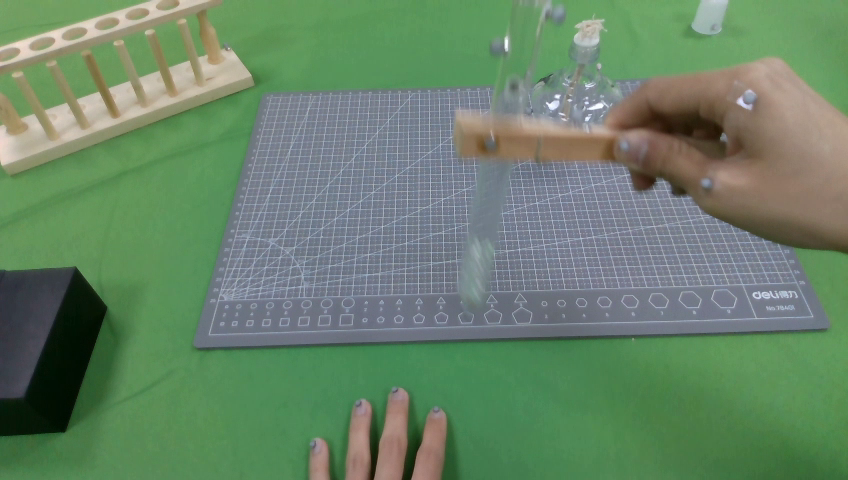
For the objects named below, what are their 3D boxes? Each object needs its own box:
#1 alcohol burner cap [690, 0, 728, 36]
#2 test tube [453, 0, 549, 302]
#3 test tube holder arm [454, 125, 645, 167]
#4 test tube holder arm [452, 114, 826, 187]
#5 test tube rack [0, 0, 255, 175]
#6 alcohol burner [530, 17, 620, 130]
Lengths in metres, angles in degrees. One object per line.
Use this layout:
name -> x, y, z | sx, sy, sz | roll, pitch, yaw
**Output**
alcohol burner cap -> 0.313, -0.250, 0.661 | 0.034, 0.048, 0.033 | -3, 50, 3
test tube -> 0.033, -0.033, 0.283 | 0.017, 0.151, 0.017 | 7, 30, -4
test tube holder arm -> 0.058, -0.042, 0.275 | 0.088, 0.015, 0.010 | 1, 32, -12
test tube holder arm -> 0.102, -0.042, 0.286 | 0.179, 0.015, 0.013 | 6, 32, -5
test tube rack -> -0.298, -0.158, 0.583 | 0.242, 0.086, 0.066 | -26, 53, -18
alcohol burner -> 0.132, -0.134, 0.520 | 0.078, 0.120, 0.077 | -1, 48, 1
